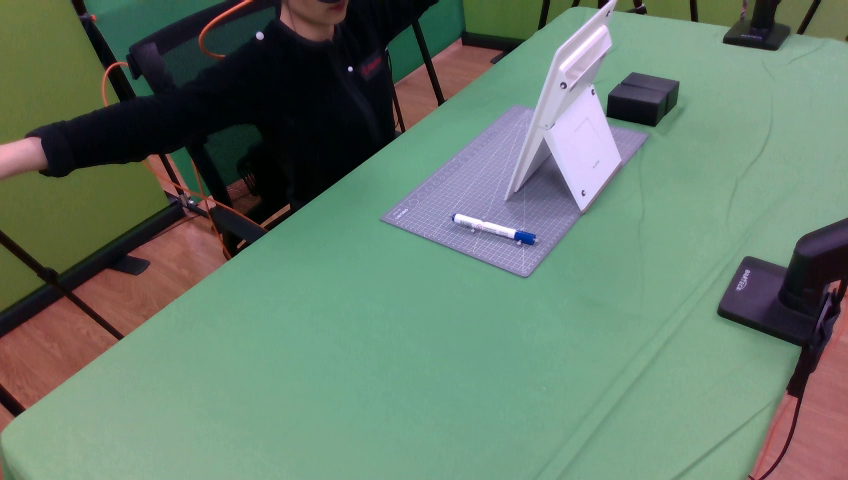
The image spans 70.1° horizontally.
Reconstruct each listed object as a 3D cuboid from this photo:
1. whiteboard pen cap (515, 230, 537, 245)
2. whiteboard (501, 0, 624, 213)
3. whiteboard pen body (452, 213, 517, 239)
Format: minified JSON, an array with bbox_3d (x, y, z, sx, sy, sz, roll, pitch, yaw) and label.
[{"bbox_3d":[0.160,-0.005,0.956,0.033,0.018,0.018,17,47,26],"label":"whiteboard pen cap"},{"bbox_3d":[0.271,-0.189,0.977,0.143,0.306,0.218,34,53,16],"label":"whiteboard"},{"bbox_3d":[0.109,-0.020,0.979,0.140,0.017,0.017,17,47,25],"label":"whiteboard pen body"}]
